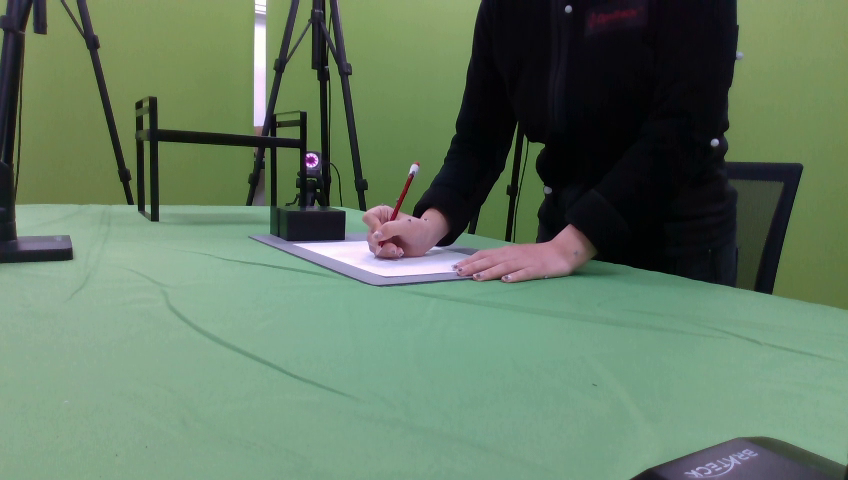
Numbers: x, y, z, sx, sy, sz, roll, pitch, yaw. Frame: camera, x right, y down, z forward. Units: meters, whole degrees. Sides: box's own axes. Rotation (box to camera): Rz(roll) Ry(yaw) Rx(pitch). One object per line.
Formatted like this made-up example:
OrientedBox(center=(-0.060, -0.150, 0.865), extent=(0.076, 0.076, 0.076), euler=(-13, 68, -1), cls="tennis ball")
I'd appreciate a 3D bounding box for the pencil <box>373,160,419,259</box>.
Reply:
OrientedBox(center=(-0.040, -0.047, 0.861), extent=(0.012, 0.012, 0.194), euler=(5, 50, 19), cls="pencil")
